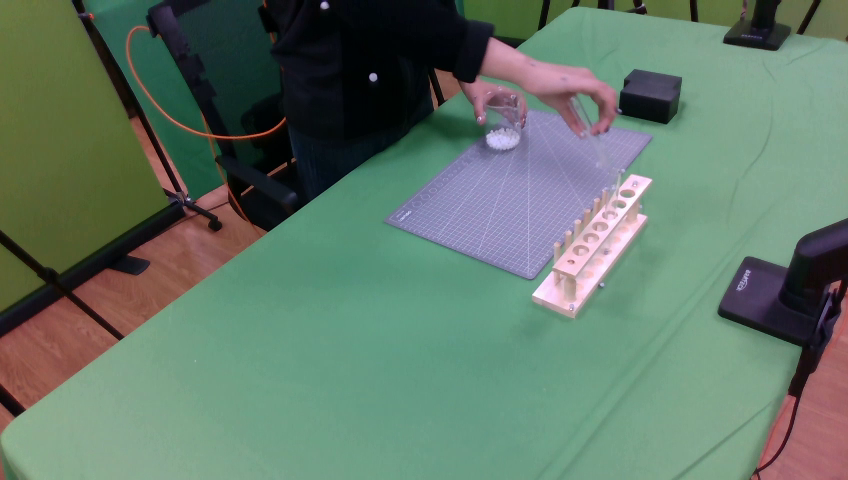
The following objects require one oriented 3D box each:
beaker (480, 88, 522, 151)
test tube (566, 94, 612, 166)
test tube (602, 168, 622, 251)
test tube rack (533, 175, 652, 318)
[{"bbox_3d":[0.153,-0.228,1.160,0.074,0.101,0.083,-31,45,-23],"label":"beaker"},{"bbox_3d":[0.234,-0.153,0.852,0.017,0.152,0.017,-20,49,26],"label":"test tube"},{"bbox_3d":[0.264,-0.039,0.853,0.017,0.151,0.017,-5,44,6],"label":"test tube"},{"bbox_3d":[0.251,-0.001,0.888,0.066,0.085,0.243,22,49,33],"label":"test tube rack"}]
